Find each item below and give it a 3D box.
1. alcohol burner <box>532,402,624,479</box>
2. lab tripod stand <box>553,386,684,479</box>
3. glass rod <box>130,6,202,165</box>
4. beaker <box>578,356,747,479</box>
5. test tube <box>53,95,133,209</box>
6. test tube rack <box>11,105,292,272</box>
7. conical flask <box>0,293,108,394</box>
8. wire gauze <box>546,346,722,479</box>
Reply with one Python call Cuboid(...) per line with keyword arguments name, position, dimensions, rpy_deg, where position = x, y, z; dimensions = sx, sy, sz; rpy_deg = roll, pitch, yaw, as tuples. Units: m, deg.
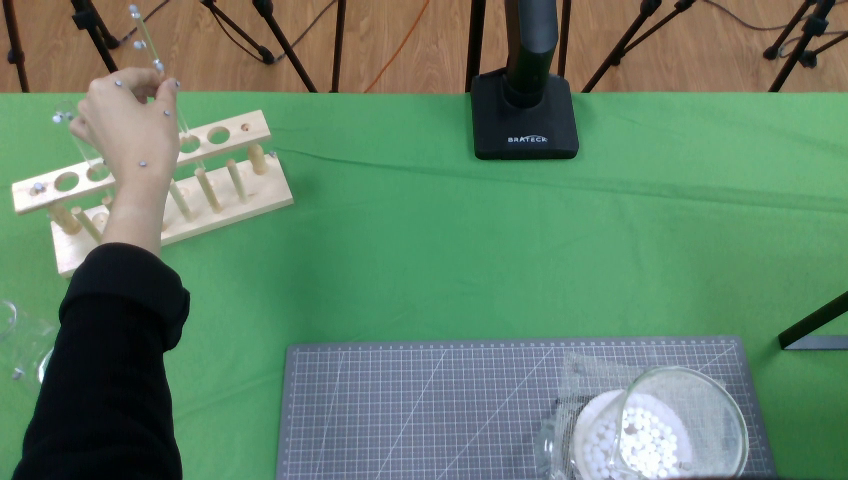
Cuboid(name="alcohol burner", position=(0.132, 0.170, 0.502), dimensions=(0.078, 0.120, 0.077), rpy_deg=(1, 62, -2))
Cuboid(name="lab tripod stand", position=(0.144, 0.178, 0.487), dimensions=(0.148, 0.132, 0.147), rpy_deg=(1, 62, -2))
Cuboid(name="glass rod", position=(-0.229, -0.127, 0.549), dimensions=(0.008, 0.201, 0.008), rpy_deg=(2, 59, -3))
Cuboid(name="beaker", position=(0.141, 0.126, 0.385), dimensions=(0.084, 0.101, 0.073), rpy_deg=(-22, 66, -12))
Cuboid(name="test tube", position=(-0.310, -0.078, 0.576), dimensions=(0.017, 0.151, 0.017), rpy_deg=(1, 57, -2))
Cuboid(name="test tube rack", position=(-0.268, -0.052, 0.620), dimensions=(0.242, 0.086, 0.066), rpy_deg=(-20, 65, -11))
Cuboid(name="conical flask", position=(-0.339, 0.085, 0.529), dimensions=(0.075, 0.123, 0.074), rpy_deg=(1, 63, -1))
Cuboid(name="wire gauze", position=(0.151, 0.143, 0.431), dimensions=(0.121, 0.011, 0.124), rpy_deg=(12, 62, 2))
